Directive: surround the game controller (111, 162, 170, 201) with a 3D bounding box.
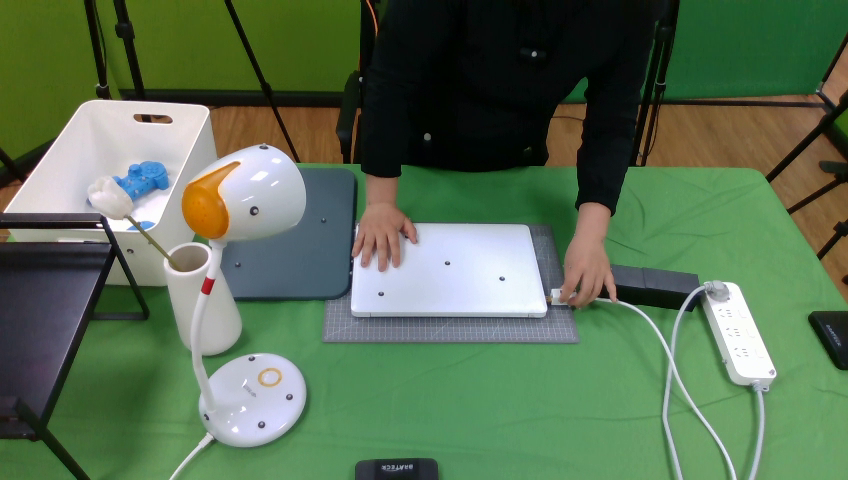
[{"bbox_3d":[-0.597,-0.112,1.234,0.097,0.052,0.155,28,51,20],"label":"game controller"}]

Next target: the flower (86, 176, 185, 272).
[{"bbox_3d":[-0.364,0.039,0.894,0.038,0.364,0.044,-4,53,15],"label":"flower"}]

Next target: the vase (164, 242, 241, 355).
[{"bbox_3d":[-0.349,0.096,0.953,0.098,0.201,0.097,3,47,-3],"label":"vase"}]

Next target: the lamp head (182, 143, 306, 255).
[{"bbox_3d":[-0.215,-0.043,0.697,0.112,0.113,0.123,23,31,17],"label":"lamp head"}]

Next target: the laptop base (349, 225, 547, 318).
[{"bbox_3d":[0.041,0.056,1.148,0.354,0.023,0.234,0,42,-4],"label":"laptop base"}]

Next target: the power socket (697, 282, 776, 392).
[{"bbox_3d":[0.551,0.161,1.078,0.072,0.033,0.225,2,46,-1],"label":"power socket"}]

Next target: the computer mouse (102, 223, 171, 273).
[{"bbox_3d":[-0.536,0.011,1.127,0.062,0.041,0.117,33,53,21],"label":"computer mouse"}]

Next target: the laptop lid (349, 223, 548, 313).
[{"bbox_3d":[0.042,0.047,1.143,0.357,0.013,0.240,2,43,-3],"label":"laptop lid"}]

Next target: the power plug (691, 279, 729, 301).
[{"bbox_3d":[0.523,0.092,1.116,0.072,0.053,0.035,10,48,9],"label":"power plug"}]

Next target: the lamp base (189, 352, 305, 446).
[{"bbox_3d":[-0.267,0.197,0.876,0.160,0.181,0.179,26,52,20],"label":"lamp base"}]

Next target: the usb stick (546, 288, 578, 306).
[{"bbox_3d":[0.247,0.104,1.101,0.059,0.027,0.021,-5,45,3],"label":"usb stick"}]

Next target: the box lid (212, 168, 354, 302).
[{"bbox_3d":[-0.276,-0.023,1.205,0.263,0.015,0.369,0,46,-3],"label":"box lid"}]

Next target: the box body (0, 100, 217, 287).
[{"bbox_3d":[-0.559,-0.092,1.144,0.254,0.161,0.361,3,46,-2],"label":"box body"}]
